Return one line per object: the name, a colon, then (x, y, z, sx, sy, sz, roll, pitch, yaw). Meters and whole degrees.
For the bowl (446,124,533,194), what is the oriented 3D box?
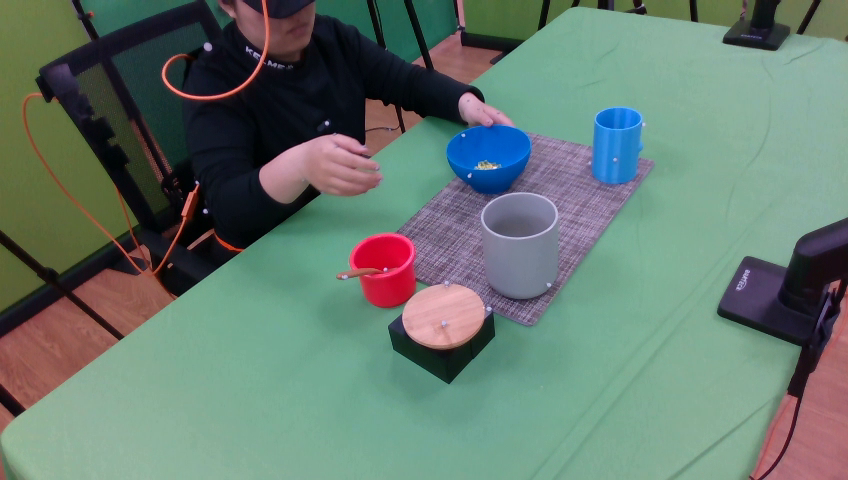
bowl: (0.118, -0.135, 1.075, 0.151, 0.077, 0.150, -5, 40, 5)

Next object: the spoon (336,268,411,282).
spoon: (-0.071, 0.047, 0.850, 0.041, 0.195, 0.021, 19, 93, 23)

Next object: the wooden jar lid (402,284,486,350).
wooden jar lid: (0.027, 0.101, 0.786, 0.108, 0.021, 0.108, -5, 39, 4)

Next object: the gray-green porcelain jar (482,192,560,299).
gray-green porcelain jar: (0.139, 0.012, 0.858, 0.106, 0.127, 0.105, -6, 40, 5)

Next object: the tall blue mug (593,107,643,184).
tall blue mug: (0.330, -0.172, 1.052, 0.078, 0.108, 0.106, -12, 40, 0)
